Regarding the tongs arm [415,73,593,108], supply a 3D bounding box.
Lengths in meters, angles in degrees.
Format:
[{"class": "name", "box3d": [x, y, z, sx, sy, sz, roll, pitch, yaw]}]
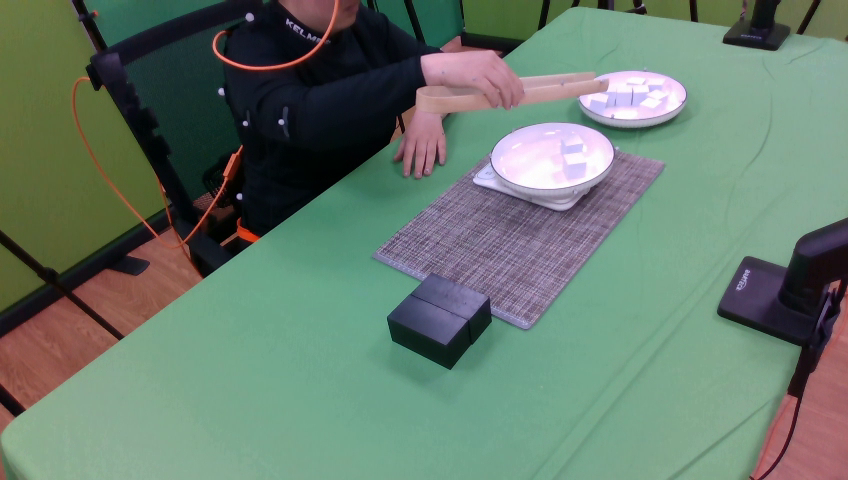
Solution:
[{"class": "tongs arm", "box3d": [0.148, -0.261, 1.040, 0.390, 0.028, 0.028, -13, 40, -28]}]

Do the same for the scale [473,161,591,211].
[{"class": "scale", "box3d": [0.202, -0.121, 1.074, 0.199, 0.032, 0.149, 23, 49, 33]}]

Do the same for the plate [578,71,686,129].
[{"class": "plate", "box3d": [0.416, -0.279, 1.222, 0.209, 0.038, 0.208, -5, 41, 5]}]

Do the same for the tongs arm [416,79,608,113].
[{"class": "tongs arm", "box3d": [0.161, -0.249, 1.021, 0.387, 0.026, 0.050, -15, 37, -31]}]

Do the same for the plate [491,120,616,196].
[{"class": "plate", "box3d": [0.221, -0.137, 1.038, 0.207, 0.039, 0.206, -6, 41, 5]}]
